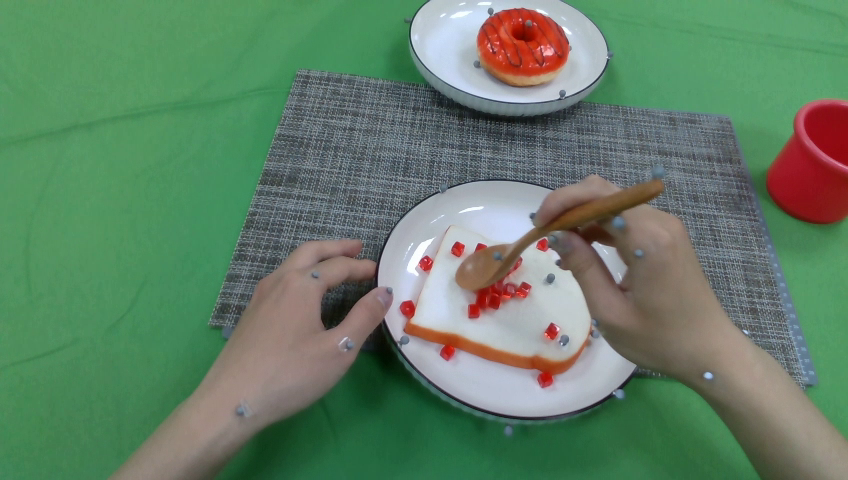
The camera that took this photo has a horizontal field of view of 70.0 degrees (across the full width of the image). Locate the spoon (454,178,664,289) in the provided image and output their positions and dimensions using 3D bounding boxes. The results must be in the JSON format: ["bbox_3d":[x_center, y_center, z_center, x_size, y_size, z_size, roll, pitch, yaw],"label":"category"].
[{"bbox_3d":[0.071,-0.001,0.375,0.022,0.194,0.041,37,63,-9],"label":"spoon"}]

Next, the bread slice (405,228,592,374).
[{"bbox_3d":[0.062,0.044,0.463,0.131,0.019,0.104,15,55,9],"label":"bread slice"}]

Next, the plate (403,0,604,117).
[{"bbox_3d":[0.081,-0.196,0.637,0.208,0.039,0.205,3,52,-3],"label":"plate"}]

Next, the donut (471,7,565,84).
[{"bbox_3d":[0.097,-0.201,0.627,0.099,0.048,0.098,3,55,-4],"label":"donut"}]

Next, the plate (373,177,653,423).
[{"bbox_3d":[0.065,0.040,0.462,0.209,0.038,0.207,2,54,-3],"label":"plate"}]
